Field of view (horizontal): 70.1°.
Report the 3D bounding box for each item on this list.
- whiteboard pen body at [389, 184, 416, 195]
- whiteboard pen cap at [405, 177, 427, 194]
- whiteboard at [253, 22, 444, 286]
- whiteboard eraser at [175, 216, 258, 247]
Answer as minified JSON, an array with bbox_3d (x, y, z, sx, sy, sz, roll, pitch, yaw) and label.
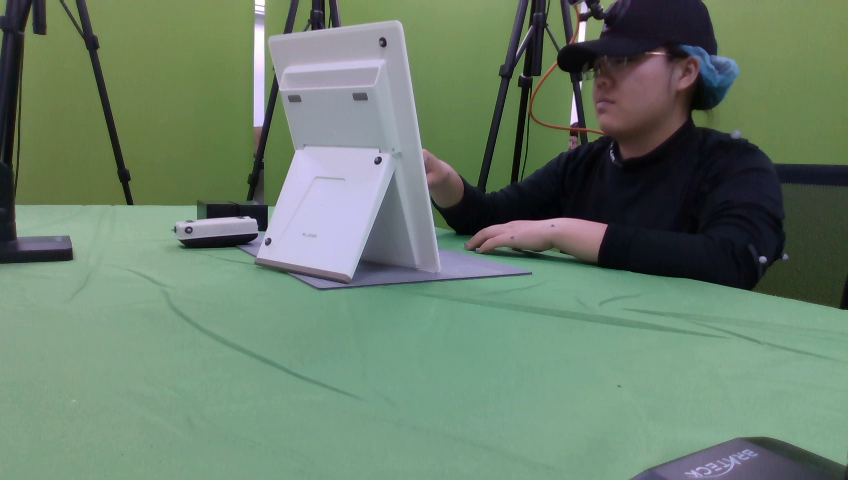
[{"bbox_3d":[-0.034,-0.084,1.001,0.017,0.017,0.140,0,3,-17],"label":"whiteboard pen body"},{"bbox_3d":[-0.013,-0.084,0.942,0.033,0.018,0.018,32,22,31],"label":"whiteboard pen cap"},{"bbox_3d":[-0.125,-0.081,0.715,0.216,0.305,0.144,9,29,36],"label":"whiteboard"},{"bbox_3d":[-0.313,-0.012,0.915,0.113,0.042,0.055,-5,12,-30],"label":"whiteboard eraser"}]
